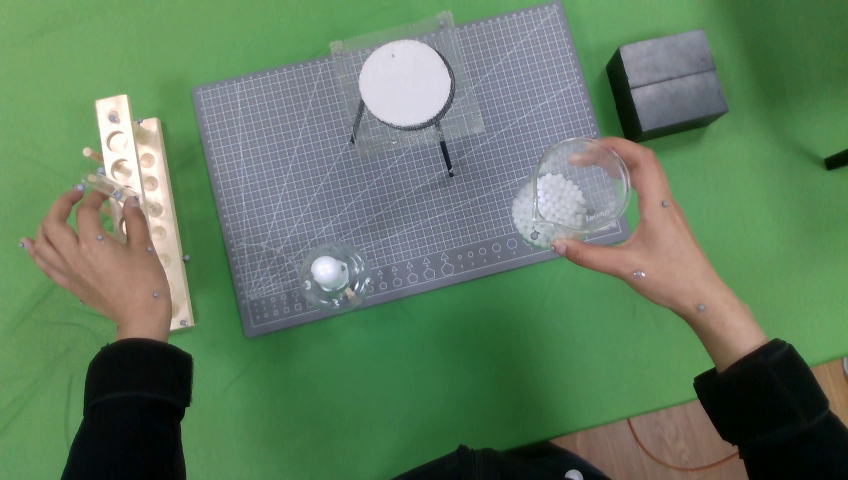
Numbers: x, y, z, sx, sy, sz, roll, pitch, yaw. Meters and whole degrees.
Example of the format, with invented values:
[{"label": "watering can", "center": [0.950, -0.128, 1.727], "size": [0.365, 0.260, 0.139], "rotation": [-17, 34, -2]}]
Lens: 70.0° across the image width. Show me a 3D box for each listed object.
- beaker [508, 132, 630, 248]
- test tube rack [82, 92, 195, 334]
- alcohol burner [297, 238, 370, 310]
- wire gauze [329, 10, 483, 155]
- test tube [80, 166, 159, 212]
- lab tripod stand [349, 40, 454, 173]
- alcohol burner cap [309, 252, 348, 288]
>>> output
[{"label": "beaker", "center": [0.111, -0.033, 0.497], "size": [0.084, 0.100, 0.074], "rotation": [-38, 85, -10]}, {"label": "test tube rack", "center": [-0.314, -0.024, 0.649], "size": [0.067, 0.085, 0.241], "rotation": [-12, 83, -2]}, {"label": "alcohol burner", "center": [-0.096, 0.033, 0.628], "size": [0.078, 0.119, 0.077], "rotation": [0, 82, -1]}, {"label": "wire gauze", "center": [-0.018, -0.149, 0.575], "size": [0.125, 0.011, 0.121], "rotation": [-14, 84, -2]}, {"label": "test tube", "center": [-0.298, -0.047, 0.603], "size": [0.017, 0.150, 0.017], "rotation": [0, 82, -3]}, {"label": "lab tripod stand", "center": [-0.016, -0.145, 0.642], "size": [0.148, 0.132, 0.148], "rotation": [0, 81, 1]}, {"label": "alcohol burner cap", "center": [-0.095, 0.028, 0.593], "size": [0.034, 0.048, 0.033], "rotation": [-1, 80, 5]}]
